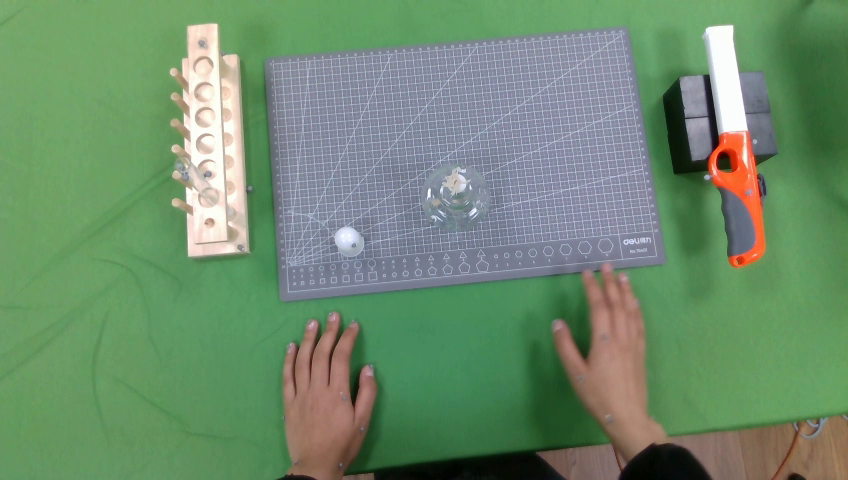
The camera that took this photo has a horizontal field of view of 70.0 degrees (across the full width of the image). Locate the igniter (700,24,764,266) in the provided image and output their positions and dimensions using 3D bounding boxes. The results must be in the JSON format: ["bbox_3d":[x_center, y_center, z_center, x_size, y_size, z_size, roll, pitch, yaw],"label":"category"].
[{"bbox_3d":[0.340,-0.108,0.674,0.057,0.025,0.275,-3,80,5],"label":"igniter"}]

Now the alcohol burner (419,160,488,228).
[{"bbox_3d":[0.033,-0.053,0.660,0.078,0.119,0.077,0,82,1],"label":"alcohol burner"}]

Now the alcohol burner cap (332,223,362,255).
[{"bbox_3d":[-0.089,-0.004,0.686,0.034,0.048,0.033,0,80,0],"label":"alcohol burner cap"}]

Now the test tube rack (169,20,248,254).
[{"bbox_3d":[-0.248,-0.112,0.682,0.067,0.085,0.241,-5,81,-1],"label":"test tube rack"}]

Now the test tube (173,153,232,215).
[{"bbox_3d":[-0.224,-0.054,0.623,0.017,0.151,0.017,1,75,-2],"label":"test tube"}]
